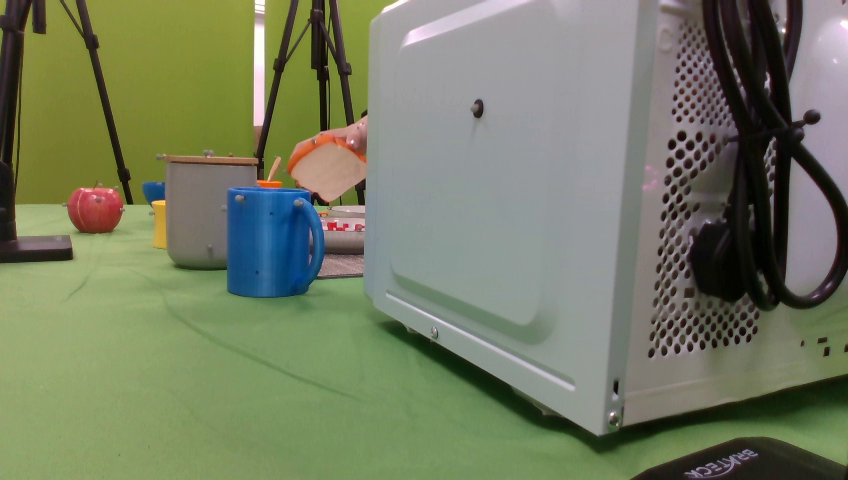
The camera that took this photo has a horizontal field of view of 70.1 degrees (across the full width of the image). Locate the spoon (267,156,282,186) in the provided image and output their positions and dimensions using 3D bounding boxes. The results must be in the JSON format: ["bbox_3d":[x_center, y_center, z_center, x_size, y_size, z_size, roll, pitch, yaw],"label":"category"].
[{"bbox_3d":[-0.391,-0.150,1.548,0.041,0.021,0.193,3,53,7],"label":"spoon"}]

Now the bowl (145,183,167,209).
[{"bbox_3d":[-0.459,-0.068,1.175,0.151,0.077,0.151,3,7,0],"label":"bowl"}]

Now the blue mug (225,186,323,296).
[{"bbox_3d":[-0.148,0.000,0.618,0.116,0.106,0.083,7,9,33],"label":"blue mug"}]

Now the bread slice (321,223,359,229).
[{"bbox_3d":[-0.125,-0.010,0.938,0.131,0.019,0.105,7,9,31],"label":"bread slice"}]

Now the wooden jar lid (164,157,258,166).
[{"bbox_3d":[-0.261,-0.093,0.746,0.108,0.020,0.108,0,9,0],"label":"wooden jar lid"}]

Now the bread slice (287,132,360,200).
[{"bbox_3d":[-0.150,-0.118,0.959,0.107,0.018,0.135,-36,-29,10],"label":"bread slice"}]

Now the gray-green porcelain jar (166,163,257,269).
[{"bbox_3d":[-0.263,-0.031,0.754,0.106,0.126,0.106,2,7,0],"label":"gray-green porcelain jar"}]

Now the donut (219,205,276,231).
[{"bbox_3d":[-0.316,-0.039,1.083,0.099,0.048,0.099,2,6,0],"label":"donut"}]

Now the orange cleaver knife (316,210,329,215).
[{"bbox_3d":[-0.259,-0.064,1.423,0.212,0.012,0.077,-4,3,-30],"label":"orange cleaver knife"}]

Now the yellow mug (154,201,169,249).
[{"bbox_3d":[-0.338,-0.022,0.899,0.130,0.064,0.100,8,9,35],"label":"yellow mug"}]

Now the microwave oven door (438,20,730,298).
[{"bbox_3d":[0.181,-0.076,0.618,0.358,0.243,0.039,-2,8,-28],"label":"microwave oven door"}]

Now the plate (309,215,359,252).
[{"bbox_3d":[-0.130,-0.012,0.945,0.208,0.039,0.207,2,8,0],"label":"plate"}]

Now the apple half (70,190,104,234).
[{"bbox_3d":[-0.552,-0.047,1.009,0.053,0.074,0.081,-1,9,26],"label":"apple half"}]

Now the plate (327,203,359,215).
[{"bbox_3d":[-0.102,-0.053,1.299,0.209,0.038,0.209,2,8,0],"label":"plate"}]

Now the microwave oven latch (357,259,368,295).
[{"bbox_3d":[-0.019,0.031,0.529,0.079,0.029,0.030,-1,7,-26],"label":"microwave oven latch"}]

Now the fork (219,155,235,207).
[{"bbox_3d":[-0.459,-0.134,1.415,0.028,0.018,0.207,-1,-34,-24],"label":"fork"}]

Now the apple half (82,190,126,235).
[{"bbox_3d":[-0.517,-0.046,0.994,0.032,0.081,0.081,0,6,26],"label":"apple half"}]

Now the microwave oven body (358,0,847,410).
[{"bbox_3d":[0.210,-0.051,0.471,0.444,0.260,0.324,-1,7,-28],"label":"microwave oven body"}]
